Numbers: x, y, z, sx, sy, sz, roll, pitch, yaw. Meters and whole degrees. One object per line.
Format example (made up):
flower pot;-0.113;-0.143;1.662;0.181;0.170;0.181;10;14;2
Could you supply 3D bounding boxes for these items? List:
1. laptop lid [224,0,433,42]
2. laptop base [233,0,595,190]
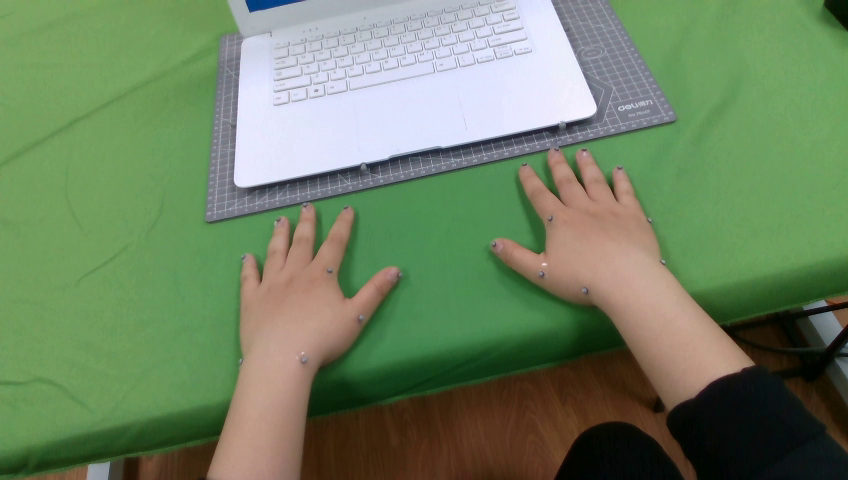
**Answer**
laptop lid;-0.061;-0.345;0.626;0.357;0.244;0.013;-13;45;3
laptop base;-0.025;-0.170;0.641;0.354;0.023;0.233;-12;56;2
